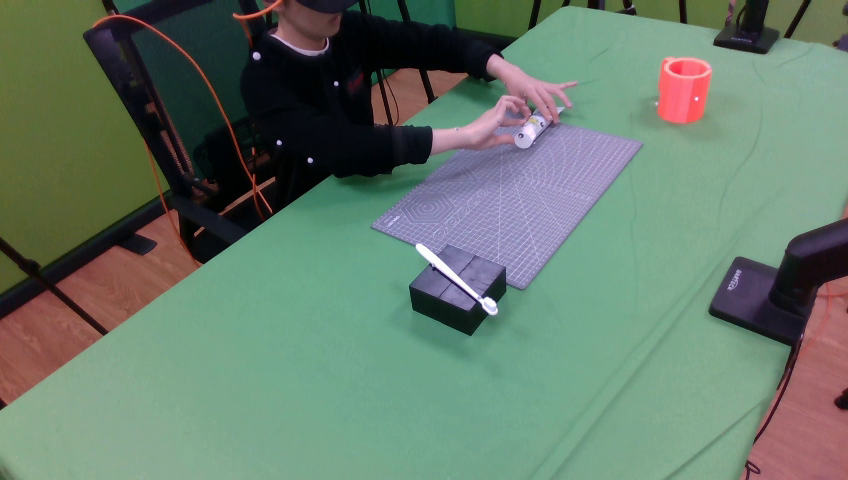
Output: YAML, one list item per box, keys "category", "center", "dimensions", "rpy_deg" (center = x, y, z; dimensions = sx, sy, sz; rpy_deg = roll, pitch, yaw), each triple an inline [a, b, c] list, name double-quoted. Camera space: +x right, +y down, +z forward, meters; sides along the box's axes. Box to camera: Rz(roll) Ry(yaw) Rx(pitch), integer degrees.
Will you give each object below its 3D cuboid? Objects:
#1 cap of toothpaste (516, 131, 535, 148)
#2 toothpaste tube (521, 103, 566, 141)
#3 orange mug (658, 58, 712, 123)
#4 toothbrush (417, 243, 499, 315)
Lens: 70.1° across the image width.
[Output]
- category: "cap of toothpaste"
  center: [0.194, -0.193, 1.153]
  dimensions: [0.037, 0.037, 0.011]
  rpy_deg: [8, 43, 17]
- category: "toothpaste tube"
  center: [0.234, -0.237, 1.209]
  dimensions: [0.055, 0.034, 0.165]
  rpy_deg: [18, 42, 21]
- category: "orange mug"
  center: [0.504, -0.304, 1.193]
  dimensions: [0.083, 0.101, 0.125]
  rpy_deg: [-13, 45, -5]
- category: "toothbrush"
  center: [0.043, 0.049, 0.842]
  dimensions: [0.014, 0.017, 0.180]
  rpy_deg: [-31, 45, -21]
